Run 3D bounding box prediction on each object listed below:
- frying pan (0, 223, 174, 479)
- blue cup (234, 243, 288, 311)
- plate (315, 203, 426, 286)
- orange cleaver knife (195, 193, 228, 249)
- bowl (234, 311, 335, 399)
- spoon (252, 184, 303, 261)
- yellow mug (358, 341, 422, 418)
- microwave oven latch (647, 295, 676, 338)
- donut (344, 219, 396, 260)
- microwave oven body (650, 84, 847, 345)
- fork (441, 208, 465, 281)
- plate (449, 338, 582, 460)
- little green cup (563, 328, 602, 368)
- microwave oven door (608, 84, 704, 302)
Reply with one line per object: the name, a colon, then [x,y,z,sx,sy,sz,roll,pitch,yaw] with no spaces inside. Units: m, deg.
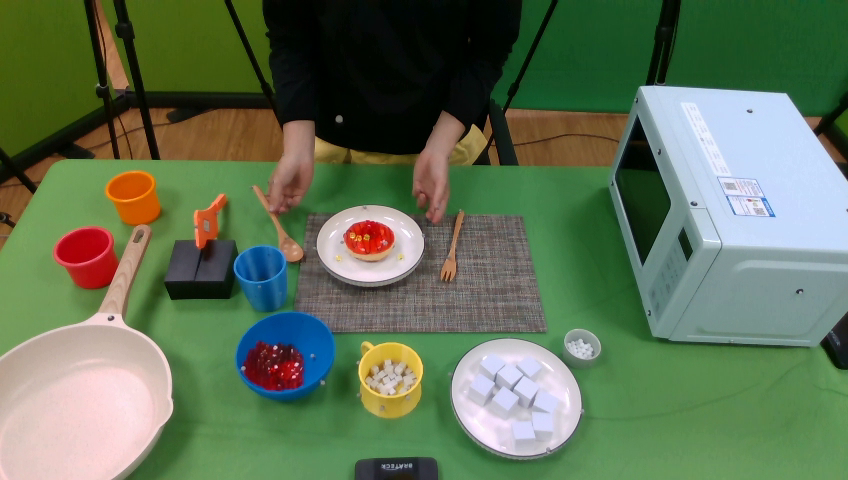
frying pan: [-0.505,0.169,0.941,0.307,0.103,0.485,5,54,-1]
blue cup: [-0.276,0.072,1.052,0.093,0.101,0.092,1,48,-1]
plate: [-0.101,0.012,1.159,0.209,0.038,0.208,2,46,-2]
orange cleaver knife: [-0.406,-0.041,1.163,0.012,0.077,0.210,0,18,-3]
bowl: [-0.214,0.194,0.956,0.151,0.077,0.150,2,46,-2]
spoon: [-0.287,-0.037,1.172,0.041,0.022,0.193,-22,70,-26]
yellow mug: [-0.063,0.210,0.961,0.100,0.064,0.130,-29,54,-28]
microwave oven latch: [0.413,0.133,1.060,0.030,0.029,0.078,4,46,1]
donut: [-0.102,-0.003,1.157,0.099,0.048,0.098,3,43,-2]
microwave oven body: [0.569,-0.054,1.116,0.326,0.261,0.439,2,46,-1]
fork: [0.061,0.005,1.190,0.028,0.019,0.206,4,47,12]
plate: [0.141,0.251,0.955,0.208,0.039,0.206,2,46,-2]
little green cup: [0.265,0.184,1.025,0.061,0.039,0.061,1,46,-1]
microwave oven door: [0.424,-0.096,1.138,0.039,0.245,0.353,2,46,-1]
